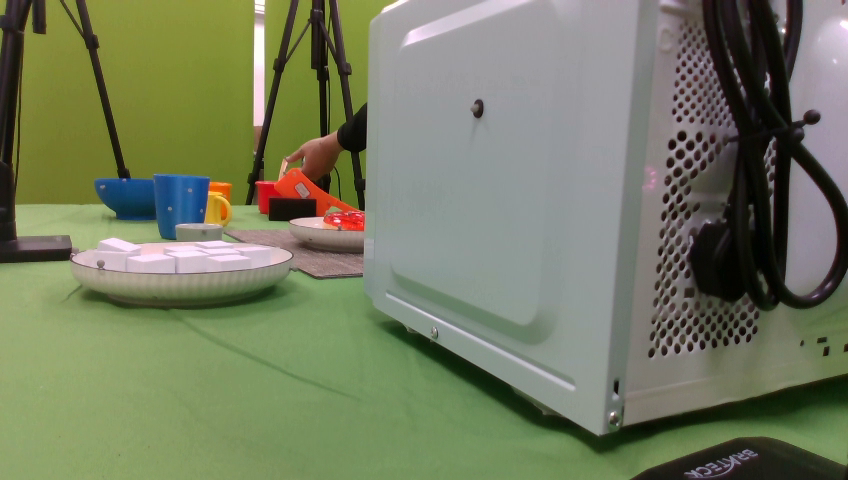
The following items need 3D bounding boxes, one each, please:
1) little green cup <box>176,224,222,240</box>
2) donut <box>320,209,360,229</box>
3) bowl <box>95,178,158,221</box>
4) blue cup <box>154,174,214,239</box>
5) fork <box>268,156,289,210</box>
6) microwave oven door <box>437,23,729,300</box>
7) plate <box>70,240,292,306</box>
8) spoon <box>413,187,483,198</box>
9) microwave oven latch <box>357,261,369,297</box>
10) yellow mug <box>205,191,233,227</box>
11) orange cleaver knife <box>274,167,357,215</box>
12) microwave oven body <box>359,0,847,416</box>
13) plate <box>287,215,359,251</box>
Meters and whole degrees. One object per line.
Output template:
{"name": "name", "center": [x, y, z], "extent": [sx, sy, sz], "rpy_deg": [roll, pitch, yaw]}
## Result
{"name": "little green cup", "center": [-0.312, -0.001, 0.842], "extent": [0.061, 0.038, 0.061], "rpy_deg": [2, 8, 0]}
{"name": "donut", "center": [-0.115, -0.023, 0.962], "extent": [0.099, 0.048, 0.099], "rpy_deg": [5, 9, 0]}
{"name": "bowl", "center": [-0.576, -0.081, 1.217], "extent": [0.151, 0.077, 0.151], "rpy_deg": [3, 8, 0]}
{"name": "blue cup", "center": [-0.390, -0.053, 0.978], "extent": [0.093, 0.100, 0.092], "rpy_deg": [3, 6, 0]}
{"name": "fork", "center": [-0.360, -0.144, 1.508], "extent": [0.028, 0.018, 0.207], "rpy_deg": [1, 49, 0]}
{"name": "microwave oven door", "center": [0.181, -0.072, 0.621], "extent": [0.358, 0.243, 0.039], "rpy_deg": [-2, 9, -29]}
{"name": "plate", "center": [-0.242, 0.032, 0.618], "extent": [0.208, 0.039, 0.207], "rpy_deg": [2, 8, 0]}
{"name": "spoon", "center": [0.061, -0.117, 1.448], "extent": [0.195, 0.021, 0.041], "rpy_deg": [-8, -10, -29]}
{"name": "microwave oven latch", "center": [-0.019, 0.033, 0.530], "extent": [0.079, 0.029, 0.030], "rpy_deg": [-1, 7, -26]}
{"name": "yellow mug", "center": [-0.415, -0.057, 1.132], "extent": [0.130, 0.064, 0.100], "rpy_deg": [6, 8, 16]}
{"name": "orange cleaver knife", "center": [-0.238, -0.091, 1.381], "extent": [0.212, 0.077, 0.012], "rpy_deg": [31, 0, -19]}
{"name": "microwave oven body", "center": [0.211, -0.047, 0.474], "extent": [0.444, 0.260, 0.324], "rpy_deg": [-1, 7, -28]}
{"name": "plate", "center": [-0.111, -0.012, 0.960], "extent": [0.209, 0.038, 0.209], "rpy_deg": [3, 8, 0]}
